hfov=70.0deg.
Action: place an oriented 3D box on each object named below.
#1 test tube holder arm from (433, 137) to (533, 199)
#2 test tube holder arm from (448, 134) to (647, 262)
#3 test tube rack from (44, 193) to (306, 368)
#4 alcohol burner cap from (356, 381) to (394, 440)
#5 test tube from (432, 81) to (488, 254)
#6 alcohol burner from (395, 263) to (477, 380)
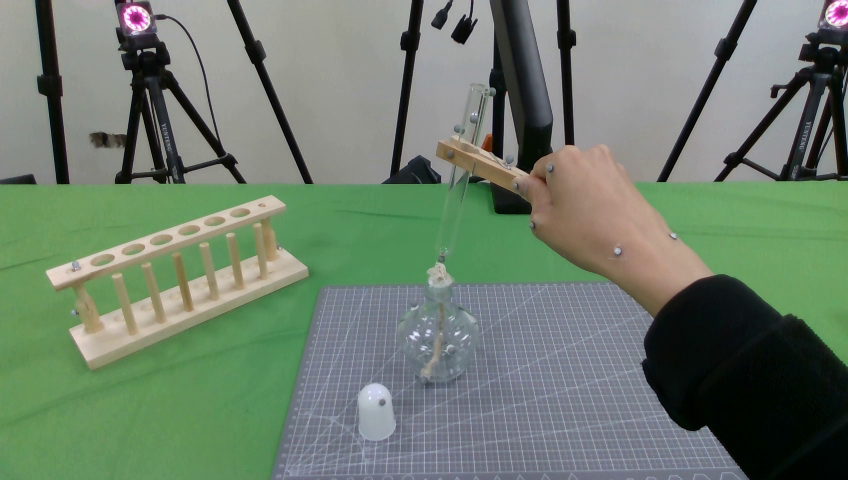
[{"bbox_3d":[0.044,-0.055,0.453,0.087,0.015,0.010,29,37,25],"label":"test tube holder arm"},{"bbox_3d":[0.080,-0.035,0.434,0.013,0.015,0.176,-23,46,-41],"label":"test tube holder arm"},{"bbox_3d":[-0.253,0.034,0.651,0.243,0.086,0.066,-24,39,-33],"label":"test tube rack"},{"bbox_3d":[-0.042,0.140,0.510,0.034,0.048,0.033,1,32,0],"label":"alcohol burner cap"},{"bbox_3d":[0.026,-0.051,0.478,0.017,0.151,0.017,8,33,-5],"label":"test tube"},{"bbox_3d":[0.011,0.070,0.555,0.078,0.120,0.077,1,33,0],"label":"alcohol burner"}]
